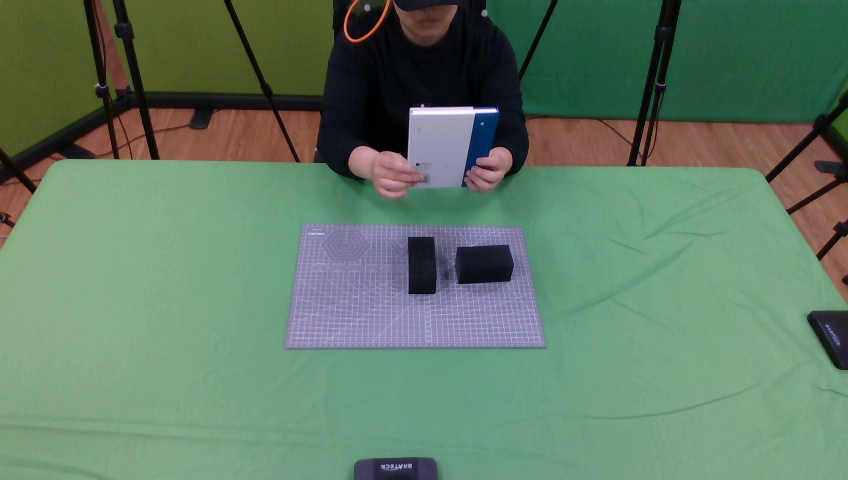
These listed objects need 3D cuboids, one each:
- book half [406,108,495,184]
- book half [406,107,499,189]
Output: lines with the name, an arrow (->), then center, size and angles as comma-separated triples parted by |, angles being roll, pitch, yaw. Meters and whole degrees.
book half -> 0.041, -0.162, 1.083 | 0.143, 0.211, 0.007 | -2, 61, -5
book half -> 0.044, -0.158, 1.080 | 0.149, 0.211, 0.016 | -3, 61, -5
